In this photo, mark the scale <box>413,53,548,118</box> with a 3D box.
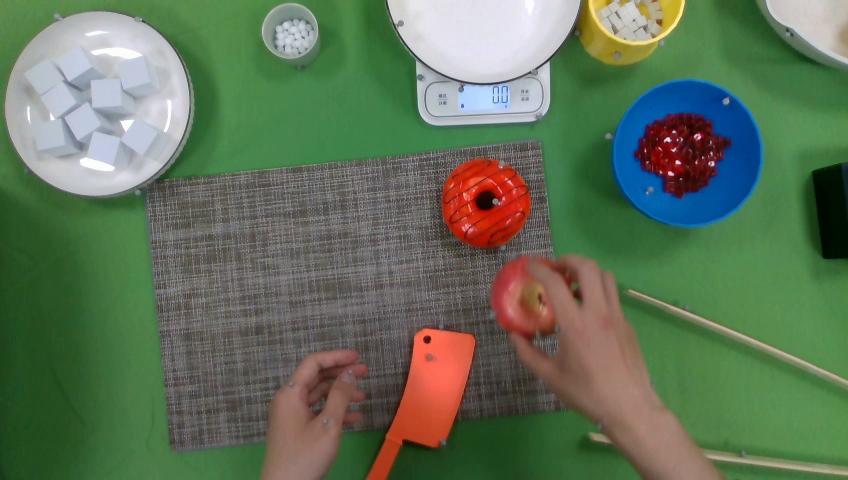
[{"bbox_3d":[0.061,-0.240,0.673,0.149,0.031,0.200,-2,89,1],"label":"scale"}]

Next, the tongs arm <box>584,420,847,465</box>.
[{"bbox_3d":[0.370,0.210,0.658,0.385,0.026,0.050,9,84,1],"label":"tongs arm"}]

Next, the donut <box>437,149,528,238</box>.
[{"bbox_3d":[0.063,-0.050,0.659,0.099,0.048,0.099,0,90,3],"label":"donut"}]

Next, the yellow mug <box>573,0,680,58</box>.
[{"bbox_3d":[0.207,-0.269,0.654,0.100,0.064,0.130,-39,88,1],"label":"yellow mug"}]

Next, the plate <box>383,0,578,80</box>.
[{"bbox_3d":[0.059,-0.271,0.641,0.209,0.038,0.209,0,89,0],"label":"plate"}]

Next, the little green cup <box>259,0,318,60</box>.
[{"bbox_3d":[-0.147,-0.232,0.672,0.061,0.038,0.061,0,88,2],"label":"little green cup"}]

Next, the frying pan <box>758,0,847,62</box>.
[{"bbox_3d":[0.536,-0.238,0.630,0.307,0.103,0.486,-33,81,1],"label":"frying pan"}]

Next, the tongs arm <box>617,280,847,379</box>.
[{"bbox_3d":[0.392,0.126,0.663,0.387,0.028,0.028,24,81,2],"label":"tongs arm"}]

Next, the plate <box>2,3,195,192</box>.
[{"bbox_3d":[-0.355,-0.155,0.674,0.208,0.039,0.207,0,89,1],"label":"plate"}]

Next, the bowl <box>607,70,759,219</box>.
[{"bbox_3d":[0.262,-0.094,0.645,0.151,0.077,0.151,0,89,1],"label":"bowl"}]

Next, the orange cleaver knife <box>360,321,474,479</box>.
[{"bbox_3d":[-0.008,0.186,0.667,0.077,0.012,0.211,23,87,-4],"label":"orange cleaver knife"}]

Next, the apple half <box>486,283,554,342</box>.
[{"bbox_3d":[0.085,0.077,0.591,0.081,0.081,0.033,40,86,2],"label":"apple half"}]

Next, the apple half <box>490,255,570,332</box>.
[{"bbox_3d":[0.109,0.044,0.588,0.080,0.075,0.053,38,91,7],"label":"apple half"}]
